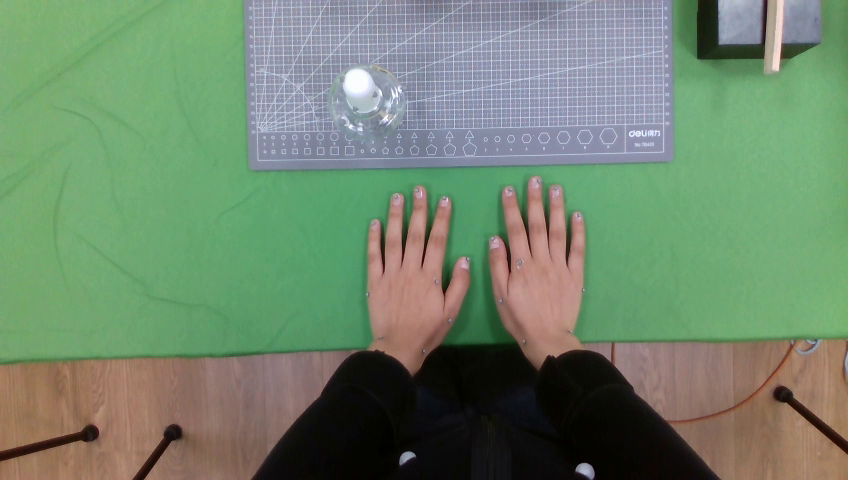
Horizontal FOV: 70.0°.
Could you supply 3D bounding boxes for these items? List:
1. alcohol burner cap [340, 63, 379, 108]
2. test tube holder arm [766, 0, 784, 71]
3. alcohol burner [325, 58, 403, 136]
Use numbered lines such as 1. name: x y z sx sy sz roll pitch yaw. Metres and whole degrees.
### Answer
1. alcohol burner cap: -0.060 -0.142 0.551 0.034 0.048 0.034 0 86 4
2. test tube holder arm: 0.337 -0.254 0.582 0.013 0.015 0.178 -2 93 -6
3. alcohol burner: -0.059 -0.142 0.587 0.078 0.119 0.078 0 90 0
